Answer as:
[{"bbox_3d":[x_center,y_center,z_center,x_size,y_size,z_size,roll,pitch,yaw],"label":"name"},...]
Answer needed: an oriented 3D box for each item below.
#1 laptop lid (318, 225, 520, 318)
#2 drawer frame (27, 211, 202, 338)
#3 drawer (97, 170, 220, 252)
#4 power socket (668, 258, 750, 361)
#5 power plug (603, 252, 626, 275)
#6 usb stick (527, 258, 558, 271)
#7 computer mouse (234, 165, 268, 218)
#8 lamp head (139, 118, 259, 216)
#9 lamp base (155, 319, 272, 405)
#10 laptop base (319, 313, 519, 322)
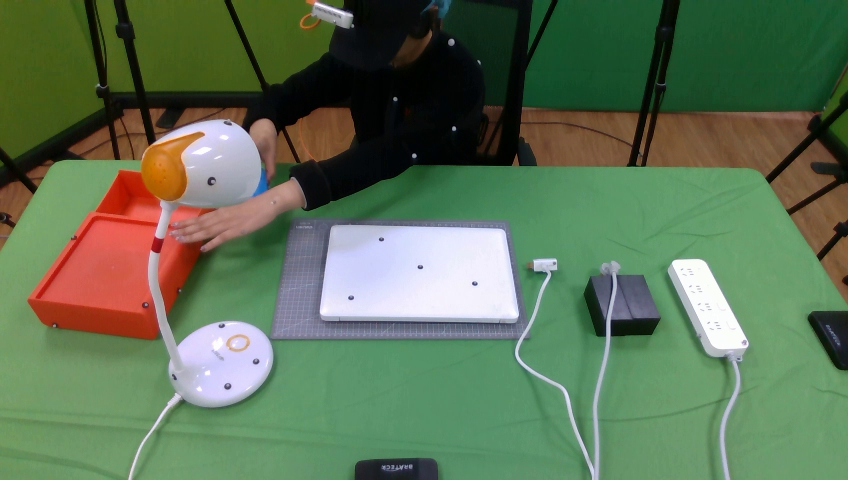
[{"bbox_3d":[-0.009,0.053,1.131,0.357,0.013,0.240,2,43,-2],"label":"laptop lid"},{"bbox_3d":[-0.529,0.056,1.063,0.202,0.083,0.212,7,46,1],"label":"drawer frame"},{"bbox_3d":[-0.518,-0.035,1.155,0.194,0.073,0.210,6,46,0],"label":"drawer"},{"bbox_3d":[0.517,0.118,1.109,0.072,0.033,0.225,-2,46,-4],"label":"power socket"},{"bbox_3d":[0.366,0.040,1.130,0.035,0.072,0.052,40,55,-10],"label":"power plug"},{"bbox_3d":[0.226,0.046,1.158,0.059,0.021,0.027,-3,8,10],"label":"usb stick"},{"bbox_3d":[-0.337,-0.098,1.178,0.063,0.041,0.116,0,66,-23],"label":"computer mouse"},{"bbox_3d":[-0.281,-0.086,0.734,0.112,0.113,0.123,21,25,16],"label":"lamp head"},{"bbox_3d":[-0.330,0.149,0.918,0.160,0.181,0.179,26,52,20],"label":"lamp base"},{"bbox_3d":[-0.009,0.062,1.137,0.354,0.023,0.234,1,42,-3],"label":"laptop base"}]
